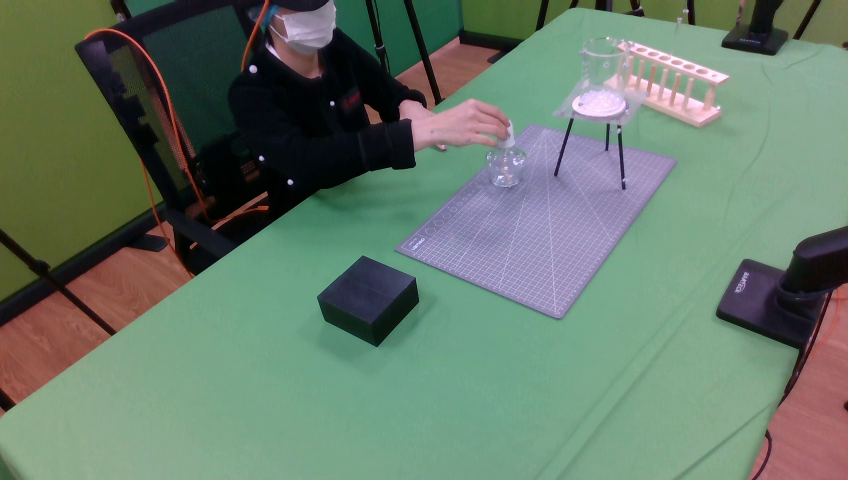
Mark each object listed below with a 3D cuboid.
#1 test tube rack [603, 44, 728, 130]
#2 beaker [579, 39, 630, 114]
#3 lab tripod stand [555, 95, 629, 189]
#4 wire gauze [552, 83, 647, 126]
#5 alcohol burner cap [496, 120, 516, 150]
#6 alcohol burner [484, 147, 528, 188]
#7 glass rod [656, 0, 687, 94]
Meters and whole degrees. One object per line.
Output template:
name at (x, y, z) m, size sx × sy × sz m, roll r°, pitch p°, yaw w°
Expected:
test tube rack at (0.480, -0.316, 1.227) m, size 0.067 × 0.085 × 0.240 m, roll -28°, pitch 44°, yaw -22°
beaker at (0.289, -0.263, 0.975) m, size 0.073 × 0.101 × 0.084 m, roll 17°, pitch 45°, yaw 27°
lab tripod stand at (0.300, -0.174, 1.045) m, size 0.148 × 0.132 × 0.147 m, roll -5°, pitch 38°, yaw 5°
wire gauze at (0.293, -0.224, 1.003) m, size 0.120 × 0.011 × 0.125 m, roll 19°, pitch 43°, yaw 26°
alcohol burner cap at (0.138, -0.182, 1.034) m, size 0.034 × 0.048 × 0.033 m, roll -7°, pitch 36°, yaw 6°
alcohol burner at (0.144, -0.152, 1.059) m, size 0.078 × 0.119 × 0.077 m, roll -3°, pitch 41°, yaw 3°
glass rod at (0.491, -0.381, 1.199) m, size 0.008 × 0.200 × 0.008 m, roll 1°, pitch 41°, yaw 0°
